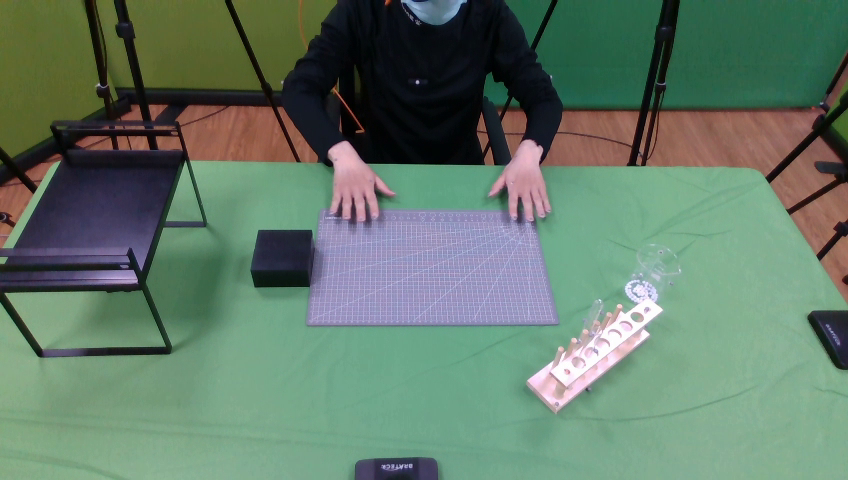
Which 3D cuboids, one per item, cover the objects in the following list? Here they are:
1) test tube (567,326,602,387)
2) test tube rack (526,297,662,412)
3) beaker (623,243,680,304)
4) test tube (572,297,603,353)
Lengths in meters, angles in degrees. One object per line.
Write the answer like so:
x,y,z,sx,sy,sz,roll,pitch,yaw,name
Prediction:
0.243,0.182,0.930,0.017,0.151,0.017,5,45,-5,test tube
0.284,0.176,1.007,0.242,0.085,0.066,-29,54,-27,test tube rack
0.414,0.067,1.111,0.083,0.101,0.074,31,52,22,beaker
0.263,0.141,0.977,0.017,0.151,0.017,2,47,-2,test tube
